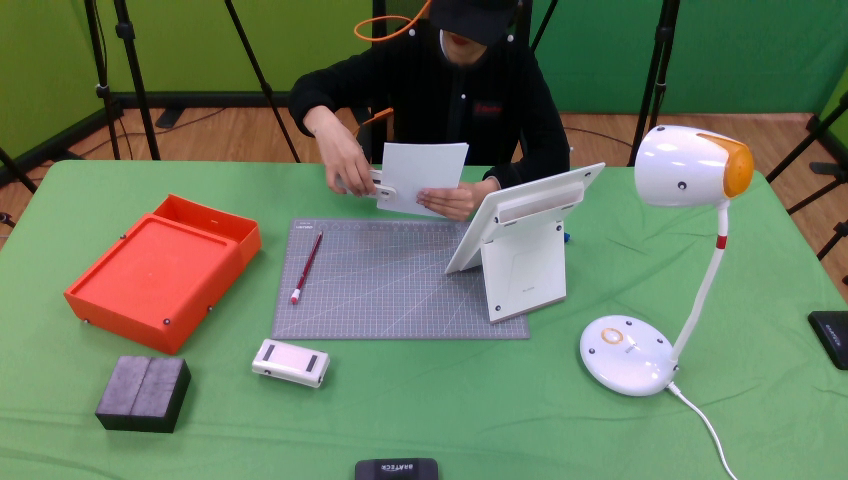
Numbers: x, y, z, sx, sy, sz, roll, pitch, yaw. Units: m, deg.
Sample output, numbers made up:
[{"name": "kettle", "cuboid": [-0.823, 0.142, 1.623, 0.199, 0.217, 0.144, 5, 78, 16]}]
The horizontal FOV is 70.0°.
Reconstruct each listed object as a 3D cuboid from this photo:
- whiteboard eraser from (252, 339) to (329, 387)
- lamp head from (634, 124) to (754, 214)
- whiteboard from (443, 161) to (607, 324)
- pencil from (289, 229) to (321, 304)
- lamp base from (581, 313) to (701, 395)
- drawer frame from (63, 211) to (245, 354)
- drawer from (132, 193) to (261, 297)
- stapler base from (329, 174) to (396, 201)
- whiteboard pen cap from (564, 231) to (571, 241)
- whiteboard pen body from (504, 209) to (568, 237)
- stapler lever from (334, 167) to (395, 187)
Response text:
[{"name": "whiteboard eraser", "cuboid": [-0.215, 0.199, 0.976, 0.112, 0.042, 0.055, 12, 45, 7]}, {"name": "lamp head", "cuboid": [0.351, -0.089, 0.775, 0.112, 0.113, 0.122, -30, 30, -28]}, {"name": "whiteboard", "cuboid": [0.185, 0.026, 1.028, 0.217, 0.306, 0.143, -15, 68, -18]}, {"name": "pencil", "cuboid": [-0.221, 0.045, 1.141, 0.012, 0.012, 0.193, 8, 44, 4]}, {"name": "lamp base", "cuboid": [0.361, 0.144, 0.973, 0.178, 0.181, 0.160, 34, 53, 23]}, {"name": "drawer frame", "cuboid": [-0.459, 0.067, 1.055, 0.201, 0.083, 0.212, 17, 48, 11]}, {"name": "drawer", "cuboid": [-0.437, 0.027, 1.098, 0.194, 0.073, 0.211, 18, 48, 12]}, {"name": "stapler base", "cuboid": [-0.116, -0.105, 1.163, 0.130, 0.041, 0.024, 10, 58, -1]}, {"name": "whiteboard pen cap", "cuboid": [0.281, -0.011, 1.230, 0.033, 0.018, 0.018, 25, 50, 16]}, {"name": "whiteboard pen body", "cuboid": [0.230, -0.034, 1.248, 0.140, 0.017, 0.017, 23, 49, 16]}, {"name": "stapler lever", "cuboid": [-0.114, -0.123, 1.172, 0.118, 0.027, 0.040, 14, 58, 2]}]
